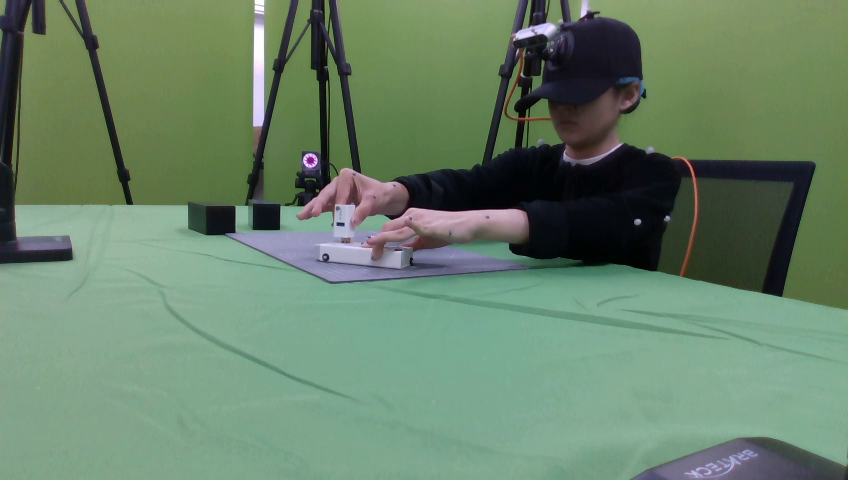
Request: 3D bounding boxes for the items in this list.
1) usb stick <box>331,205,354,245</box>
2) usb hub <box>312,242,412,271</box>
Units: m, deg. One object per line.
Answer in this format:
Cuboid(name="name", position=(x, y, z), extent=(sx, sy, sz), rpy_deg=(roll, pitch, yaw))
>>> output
Cuboid(name="usb stick", position=(-0.110, -0.017, 0.812), extent=(0.021, 0.059, 0.027), rpy_deg=(6, 6, 17))
Cuboid(name="usb hub", position=(-0.082, 0.021, 0.804), extent=(0.125, 0.025, 0.049), rpy_deg=(5, 7, 18))
